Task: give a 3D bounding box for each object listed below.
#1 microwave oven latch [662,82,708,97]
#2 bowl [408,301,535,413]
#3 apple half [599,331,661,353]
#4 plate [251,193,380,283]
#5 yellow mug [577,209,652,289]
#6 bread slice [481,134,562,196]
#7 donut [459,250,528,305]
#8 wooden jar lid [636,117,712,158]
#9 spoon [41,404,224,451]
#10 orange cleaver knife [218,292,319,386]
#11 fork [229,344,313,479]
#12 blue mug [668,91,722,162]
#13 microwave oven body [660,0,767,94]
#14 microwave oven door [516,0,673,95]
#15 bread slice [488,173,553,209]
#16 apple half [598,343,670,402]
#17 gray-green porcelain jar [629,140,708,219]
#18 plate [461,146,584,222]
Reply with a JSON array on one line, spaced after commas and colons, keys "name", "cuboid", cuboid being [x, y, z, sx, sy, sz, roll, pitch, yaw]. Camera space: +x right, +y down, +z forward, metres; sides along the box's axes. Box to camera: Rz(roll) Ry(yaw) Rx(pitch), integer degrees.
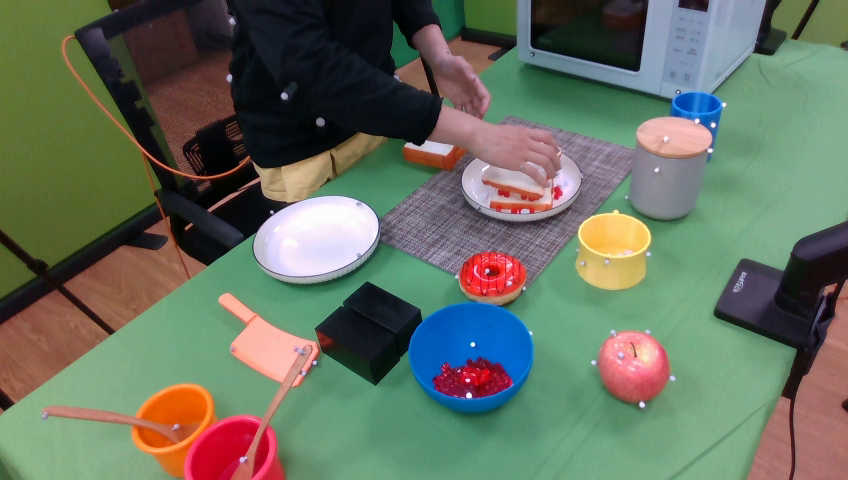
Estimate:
[{"name": "microwave oven latch", "cuboid": [0.518, -0.298, 1.202, 0.078, 0.029, 0.030, 28, 53, 35]}, {"name": "bowl", "cuboid": [0.060, 0.156, 0.739, 0.151, 0.077, 0.150, -4, 40, 4]}, {"name": "apple half", "cuboid": [0.249, 0.134, 0.738, 0.081, 0.081, 0.032, -1, 46, 7]}, {"name": "plate", "cuboid": [-0.173, -0.001, 0.984, 0.209, 0.038, 0.208, -4, 41, 4]}, {"name": "yellow mug", "cuboid": [0.279, 0.005, 0.893, 0.099, 0.064, 0.130, 5, 41, 15]}, {"name": "bread slice", "cuboid": [0.166, -0.129, 1.001, 0.106, 0.018, 0.134, 19, 51, 20]}, {"name": "donut", "cuboid": [0.101, 0.053, 0.872, 0.099, 0.048, 0.098, -5, 40, 5]}, {"name": "wooden jar lid", "cuboid": [0.377, -0.151, 0.917, 0.108, 0.021, 0.108, -2, 42, 3]}, {"name": "spoon", "cuboid": [-0.321, 0.206, 0.681, 0.021, 0.195, 0.041, -48, 36, 22]}, {"name": "orange cleaver knife", "cuboid": [-0.235, 0.136, 0.850, 0.209, 0.012, 0.077, 25, 56, 30]}, {"name": "fork", "cuboid": [-0.173, 0.205, 0.662, 0.028, 0.019, 0.207, 29, 94, 36]}, {"name": "blue mug", "cuboid": [0.474, -0.207, 1.078, 0.082, 0.106, 0.116, 4, 42, 13]}, {"name": "microwave oven body", "cuboid": [0.473, -0.516, 1.313, 0.438, 0.261, 0.327, 26, 51, 34]}, {"name": "microwave oven door", "cuboid": [0.344, -0.458, 1.257, 0.353, 0.245, 0.039, 26, 52, 33]}, {"name": "bread slice", "cuboid": [0.171, -0.101, 1.046, 0.104, 0.019, 0.131, 5, 41, 12]}, {"name": "apple half", "cuboid": [0.247, 0.161, 0.710, 0.081, 0.075, 0.053, 2, 47, 5]}, {"name": "gray-green porcelain jar", "cuboid": [0.383, -0.104, 0.958, 0.106, 0.127, 0.105, -4, 41, 4]}, {"name": "plate", "cuboid": [0.168, -0.095, 1.040, 0.207, 0.039, 0.206, -4, 41, 4]}]
